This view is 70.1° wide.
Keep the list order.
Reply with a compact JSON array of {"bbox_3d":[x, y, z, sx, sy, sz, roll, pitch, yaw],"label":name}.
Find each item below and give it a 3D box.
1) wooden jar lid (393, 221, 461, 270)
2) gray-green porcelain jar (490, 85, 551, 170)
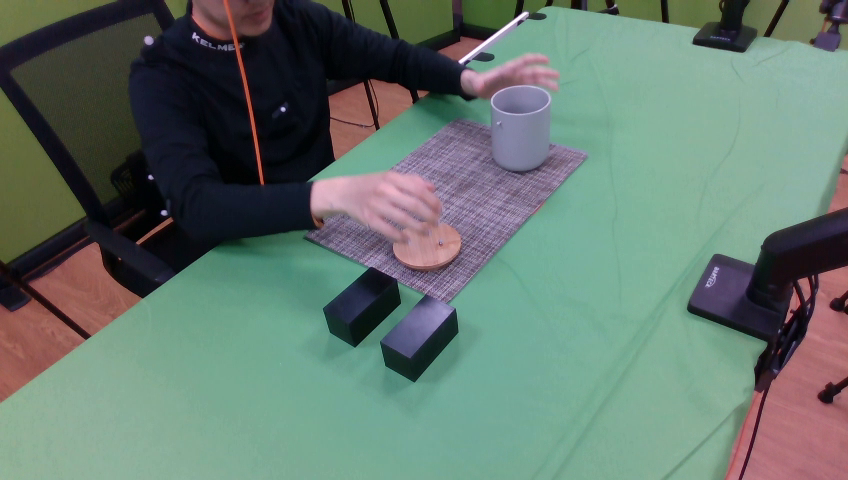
[{"bbox_3d":[0.005,0.010,0.952,0.108,0.021,0.108,-4,39,4],"label":"wooden jar lid"},{"bbox_3d":[0.173,-0.197,1.087,0.106,0.127,0.105,-4,41,4],"label":"gray-green porcelain jar"}]
